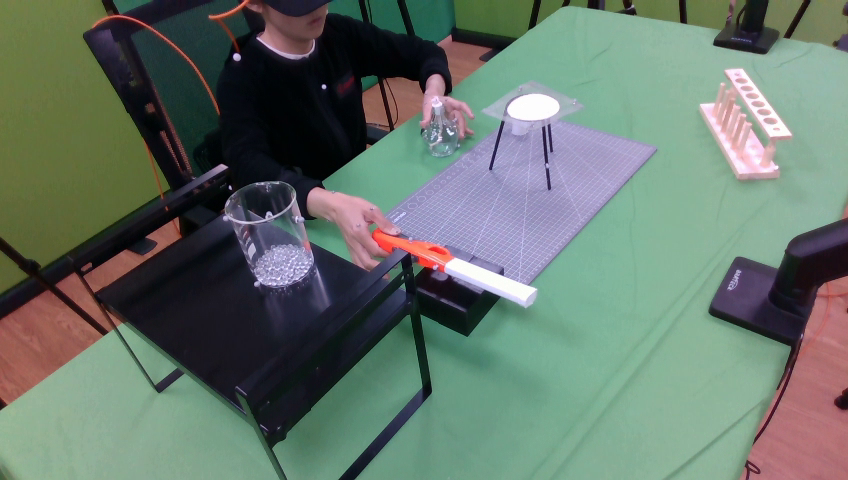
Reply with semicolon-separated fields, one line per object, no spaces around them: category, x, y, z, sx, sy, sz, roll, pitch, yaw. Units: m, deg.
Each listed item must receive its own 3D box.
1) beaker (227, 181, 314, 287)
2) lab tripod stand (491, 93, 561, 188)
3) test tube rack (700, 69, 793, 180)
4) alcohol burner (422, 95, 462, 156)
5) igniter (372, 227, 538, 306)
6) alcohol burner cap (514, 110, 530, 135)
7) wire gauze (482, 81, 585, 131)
beaker;-0.166;-0.006;0.670;0.074;0.101;0.083;-8;40;0
lab tripod stand;0.189;-0.180;1.066;0.148;0.132;0.147;-5;42;5
test tube rack;0.572;-0.215;1.089;0.066;0.085;0.241;-3;41;7
alcohol burner;0.033;-0.223;1.160;0.078;0.119;0.077;-4;39;4
igniter;0.030;0.030;0.837;0.274;0.025;0.057;21;33;33
alcohol burner cap;0.194;-0.235;1.200;0.034;0.048;0.033;-5;42;5
wire gauze;0.183;-0.224;1.015;0.125;0.011;0.120;-32;46;-23
